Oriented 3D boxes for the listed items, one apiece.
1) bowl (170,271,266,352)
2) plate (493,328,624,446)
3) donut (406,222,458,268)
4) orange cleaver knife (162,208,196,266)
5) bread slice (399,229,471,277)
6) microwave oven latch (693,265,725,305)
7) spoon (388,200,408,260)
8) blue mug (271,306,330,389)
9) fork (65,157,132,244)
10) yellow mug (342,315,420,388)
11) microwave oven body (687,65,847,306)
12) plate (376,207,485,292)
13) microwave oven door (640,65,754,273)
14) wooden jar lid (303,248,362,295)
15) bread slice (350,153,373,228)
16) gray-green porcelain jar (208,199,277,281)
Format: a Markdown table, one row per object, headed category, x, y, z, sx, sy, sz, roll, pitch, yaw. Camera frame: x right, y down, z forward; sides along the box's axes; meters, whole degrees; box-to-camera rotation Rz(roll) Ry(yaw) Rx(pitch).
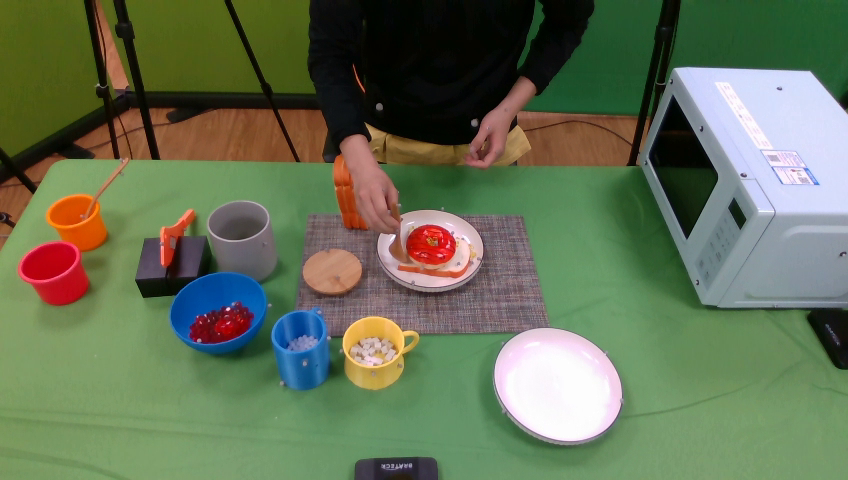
| category | x | y | z | sx | sy | sz | roll | pitch | yaw |
| --- | --- | --- | --- | --- | --- | --- | --- | --- | --- |
| bowl | -0.333 | 0.132 | 1.006 | 0.151 | 0.077 | 0.150 | 2 | 46 | -2 |
| plate | 0.213 | 0.236 | 0.974 | 0.208 | 0.039 | 0.206 | 2 | 46 | -2 |
| donut | 0.015 | 0.008 | 1.132 | 0.099 | 0.048 | 0.098 | 3 | 50 | -4 |
| orange cleaver knife | -0.454 | -0.010 | 1.129 | 0.012 | 0.077 | 0.210 | -1 | 17 | -6 |
| bread slice | 0.025 | 0.024 | 1.160 | 0.131 | 0.019 | 0.104 | 8 | 47 | 7 |
| microwave oven latch | 0.523 | 0.082 | 1.116 | 0.030 | 0.029 | 0.078 | 2 | 46 | -1 |
| spoon | -0.047 | -0.015 | 1.054 | 0.041 | 0.194 | 0.021 | 32 | 62 | 18 |
| blue mug | -0.188 | 0.163 | 0.969 | 0.082 | 0.106 | 0.116 | 15 | 47 | 10 |
| fork | -0.609 | -0.074 | 1.132 | 0.207 | 0.019 | 0.028 | -52 | 47 | 10 |
| yellow mug | -0.067 | 0.177 | 0.990 | 0.131 | 0.064 | 0.099 | -15 | 50 | -19 |
| microwave oven body | 0.669 | -0.111 | 1.176 | 0.326 | 0.261 | 0.439 | 0 | 46 | -3 |
| plate | 0.012 | 0.020 | 1.159 | 0.209 | 0.038 | 0.208 | 2 | 47 | -2 |
| microwave oven door | 0.523 | -0.147 | 1.193 | 0.039 | 0.245 | 0.353 | 0 | 47 | -3 |
| wooden jar lid | -0.169 | 0.060 | 1.122 | 0.108 | 0.021 | 0.107 | 2 | 46 | -2 |
| bread slice | -0.124 | -0.104 | 1.207 | 0.018 | 0.135 | 0.106 | -1 | 48 | 7 |
| gray-green porcelain jar | -0.323 | 0.007 | 1.092 | 0.106 | 0.127 | 0.105 | 2 | 46 | -2 |
